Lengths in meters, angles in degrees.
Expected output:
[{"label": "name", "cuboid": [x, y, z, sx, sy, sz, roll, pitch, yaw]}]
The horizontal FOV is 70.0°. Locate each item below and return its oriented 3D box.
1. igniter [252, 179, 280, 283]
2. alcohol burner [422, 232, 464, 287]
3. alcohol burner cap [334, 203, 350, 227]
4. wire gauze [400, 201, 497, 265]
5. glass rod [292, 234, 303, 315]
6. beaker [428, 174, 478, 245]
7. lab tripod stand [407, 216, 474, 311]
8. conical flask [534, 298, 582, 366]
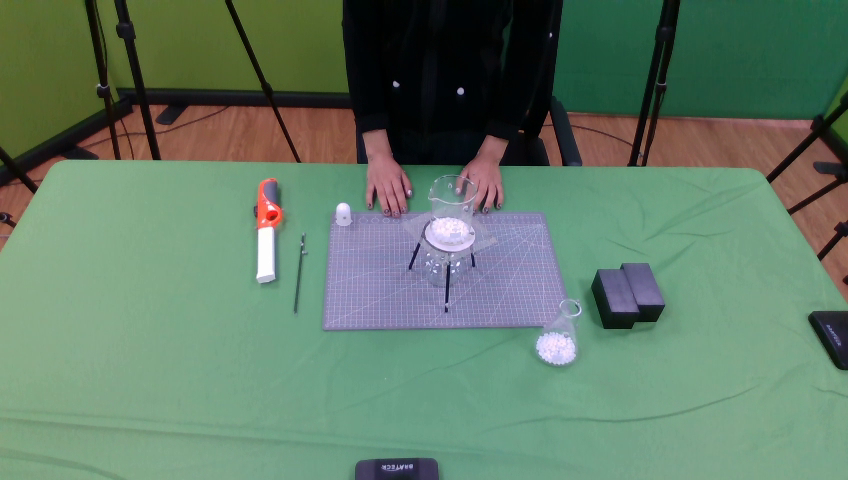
[{"label": "igniter", "cuboid": [-0.313, -0.027, 1.197, 0.057, 0.025, 0.274, -12, 47, -1]}, {"label": "alcohol burner", "cuboid": [0.035, 0.030, 1.107, 0.078, 0.120, 0.077, 1, 47, -1]}, {"label": "alcohol burner cap", "cuboid": [-0.166, -0.053, 1.220, 0.034, 0.048, 0.033, 2, 46, -2]}, {"label": "wire gauze", "cuboid": [0.042, -0.013, 1.043, 0.125, 0.011, 0.120, -24, 49, -23]}, {"label": "glass rod", "cuboid": [-0.236, 0.059, 1.134, 0.008, 0.008, 0.198, -1, 46, -4]}, {"label": "beaker", "cuboid": [0.043, -0.047, 1.009, 0.084, 0.101, 0.073, -16, 48, -19]}, {"label": "lab tripod stand", "cuboid": [0.039, 0.030, 1.093, 0.148, 0.132, 0.147, 2, 44, -2]}, {"label": "conical flask", "cuboid": [0.229, 0.149, 1.005, 0.075, 0.122, 0.075, 2, 46, -2]}]
